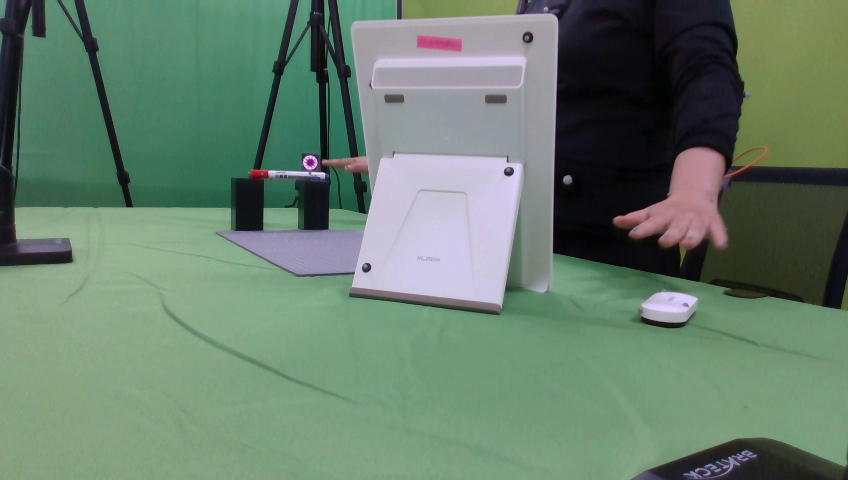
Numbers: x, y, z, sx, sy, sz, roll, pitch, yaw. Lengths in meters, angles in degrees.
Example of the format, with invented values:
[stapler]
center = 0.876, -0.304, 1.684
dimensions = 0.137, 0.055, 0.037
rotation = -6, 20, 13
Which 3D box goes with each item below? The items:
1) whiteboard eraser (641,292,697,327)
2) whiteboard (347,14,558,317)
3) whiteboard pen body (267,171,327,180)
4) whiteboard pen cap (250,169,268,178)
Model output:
[whiteboard eraser]
center = 0.240, 0.066, 0.590
dimensions = 0.041, 0.019, 0.102
rotation = 6, 7, 31
[whiteboard]
center = 0.012, -0.056, 0.609
dimensions = 0.216, 0.305, 0.144
rotation = 5, 27, 20
[whiteboard pen body]
center = -0.260, -0.126, 1.181
dimensions = 0.141, 0.017, 0.017
rotation = -2, 8, -26
[whiteboard pen cap]
center = -0.315, -0.127, 1.155
dimensions = 0.032, 0.017, 0.017
rotation = 0, 7, -24
